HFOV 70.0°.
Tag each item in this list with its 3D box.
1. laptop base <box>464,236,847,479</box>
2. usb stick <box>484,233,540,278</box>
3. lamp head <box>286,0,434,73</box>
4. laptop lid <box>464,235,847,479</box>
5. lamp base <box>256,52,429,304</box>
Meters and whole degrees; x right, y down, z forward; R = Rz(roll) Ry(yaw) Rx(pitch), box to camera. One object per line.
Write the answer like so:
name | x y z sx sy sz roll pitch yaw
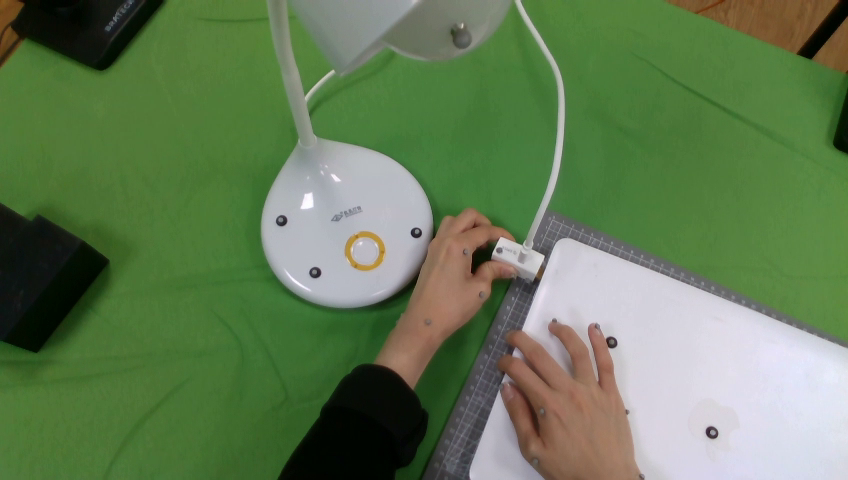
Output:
laptop base | 0.236 0.161 0.520 0.354 0.023 0.234 22 74 6
usb stick | 0.086 0.017 0.552 0.059 0.027 0.021 27 72 4
lamp head | -0.025 -0.137 0.207 0.112 0.112 0.123 -44 101 -16
laptop lid | 0.235 0.159 0.508 0.356 0.013 0.241 24 73 7
lamp base | -0.080 -0.054 0.497 0.160 0.181 0.178 -34 72 -14
